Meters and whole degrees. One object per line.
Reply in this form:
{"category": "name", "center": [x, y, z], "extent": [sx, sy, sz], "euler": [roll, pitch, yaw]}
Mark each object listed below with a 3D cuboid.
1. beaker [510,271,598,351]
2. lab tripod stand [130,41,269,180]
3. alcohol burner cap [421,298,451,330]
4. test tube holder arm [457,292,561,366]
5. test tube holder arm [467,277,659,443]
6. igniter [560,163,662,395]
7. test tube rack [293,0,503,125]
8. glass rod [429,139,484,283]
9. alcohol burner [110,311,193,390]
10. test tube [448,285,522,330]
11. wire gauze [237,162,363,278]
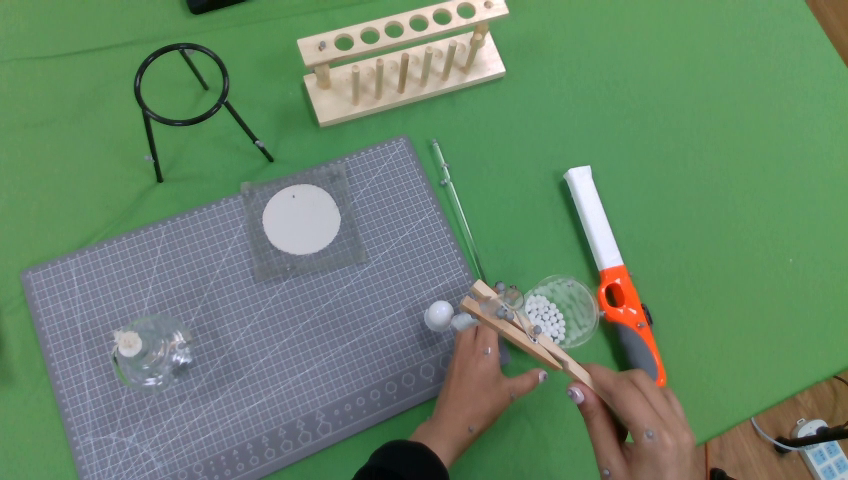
{"category": "beaker", "center": [0.128, 0.080, 0.645], "extent": [0.084, 0.100, 0.073], "euler": [9, 73, -2]}
{"category": "lab tripod stand", "center": [-0.246, -0.133, 0.646], "extent": [0.148, 0.132, 0.147], "euler": [2, 76, -6]}
{"category": "alcohol burner cap", "center": [0.015, 0.078, 0.660], "extent": [0.034, 0.048, 0.033], "euler": [1, 74, -4]}
{"category": "test tube holder arm", "center": [0.063, 0.066, 0.446], "extent": [0.088, 0.015, 0.010], "euler": [32, 74, -1]}
{"category": "test tube holder arm", "center": [0.103, 0.089, 0.448], "extent": [0.178, 0.015, 0.013], "euler": [39, 75, 1]}
{"category": "igniter", "center": [0.216, 0.040, 0.703], "extent": [0.057, 0.025, 0.275], "euler": [-11, 76, -19]}
{"category": "test tube rack", "center": [-0.024, -0.216, 0.718], "extent": [0.243, 0.085, 0.066], "euler": [-18, 77, -10]}
{"category": "glass rod", "center": [0.040, -0.028, 0.712], "extent": [0.008, 0.008, 0.199], "euler": [-17, 79, -11]}
{"category": "alcohol burner", "center": [-0.269, 0.104, 0.585], "extent": [0.078, 0.119, 0.077], "euler": [1, 74, -3]}
{"category": "test tube", "center": [0.043, 0.055, 0.468], "extent": [0.017, 0.150, 0.017], "euler": [3, 76, -11]}
{"category": "wire gauze", "center": [-0.142, -0.024, 0.690], "extent": [0.125, 0.011, 0.121], "euler": [-11, 77, -10]}
